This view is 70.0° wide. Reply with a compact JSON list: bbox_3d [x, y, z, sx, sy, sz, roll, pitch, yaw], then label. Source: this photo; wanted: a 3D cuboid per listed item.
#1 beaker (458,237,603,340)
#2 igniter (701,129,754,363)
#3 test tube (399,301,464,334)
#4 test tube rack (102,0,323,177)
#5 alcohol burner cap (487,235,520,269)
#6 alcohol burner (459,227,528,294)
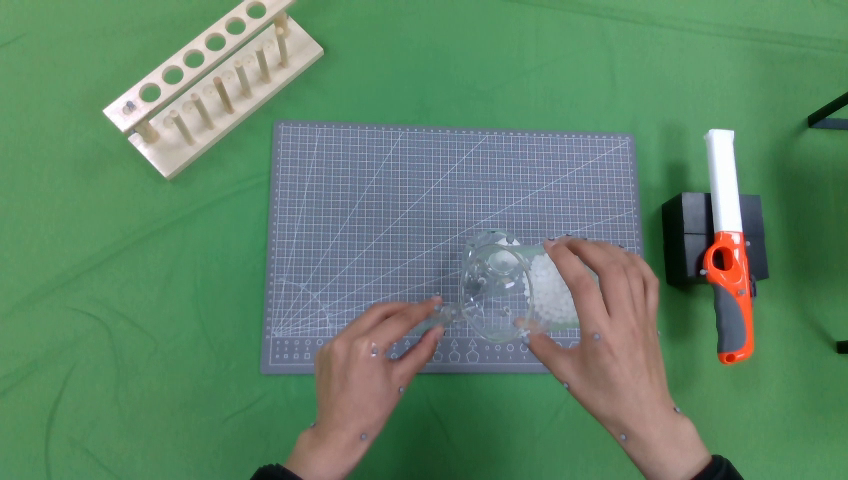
[{"bbox_3d":[0.086,0.038,0.481,0.101,0.084,0.073,-1,68,-41],"label":"beaker"},{"bbox_3d":[0.345,0.002,0.695,0.057,0.025,0.275,4,75,-3],"label":"igniter"},{"bbox_3d":[0.003,0.072,0.550,0.017,0.150,0.017,4,76,-17],"label":"test tube"},{"bbox_3d":[-0.229,-0.185,0.688,0.242,0.085,0.066,-44,85,-13],"label":"test tube rack"},{"bbox_3d":[0.085,0.011,0.628,0.034,0.048,0.033,0,79,-2],"label":"alcohol burner cap"},{"bbox_3d":[0.080,0.018,0.662,0.078,0.119,0.077,2,75,-7],"label":"alcohol burner"}]
